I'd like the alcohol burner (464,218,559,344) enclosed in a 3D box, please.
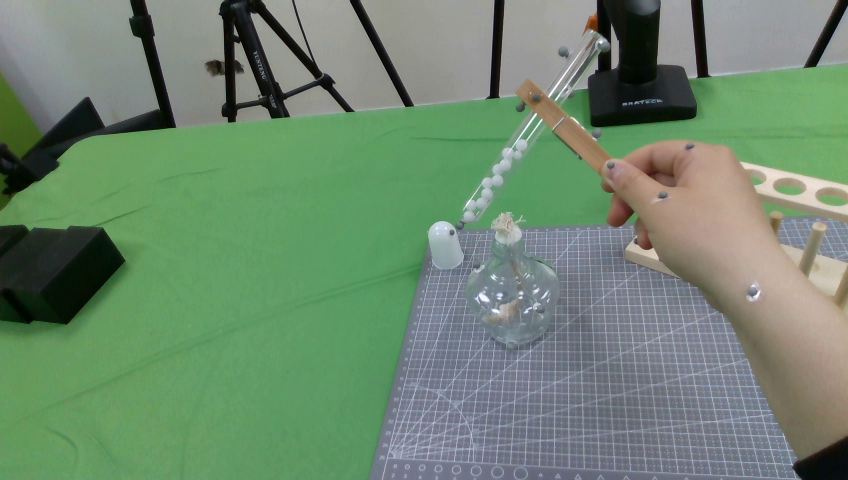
[{"bbox_3d":[0.068,0.028,0.484,0.078,0.120,0.077,-7,42,6],"label":"alcohol burner"}]

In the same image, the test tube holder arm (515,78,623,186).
[{"bbox_3d":[0.093,-0.070,0.392,0.087,0.015,0.010,47,20,6],"label":"test tube holder arm"}]

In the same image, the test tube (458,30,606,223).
[{"bbox_3d":[0.069,-0.072,0.407,0.150,0.017,0.017,-55,38,17],"label":"test tube"}]

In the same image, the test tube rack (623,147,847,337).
[{"bbox_3d":[0.284,0.005,0.472,0.240,0.086,0.066,22,52,36],"label":"test tube rack"}]

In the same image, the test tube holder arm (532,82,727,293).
[{"bbox_3d":[0.124,-0.037,0.389,0.015,0.013,0.177,-46,75,20],"label":"test tube holder arm"}]

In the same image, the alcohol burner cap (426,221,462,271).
[{"bbox_3d":[0.018,0.002,0.586,0.034,0.048,0.033,-7,41,6],"label":"alcohol burner cap"}]
